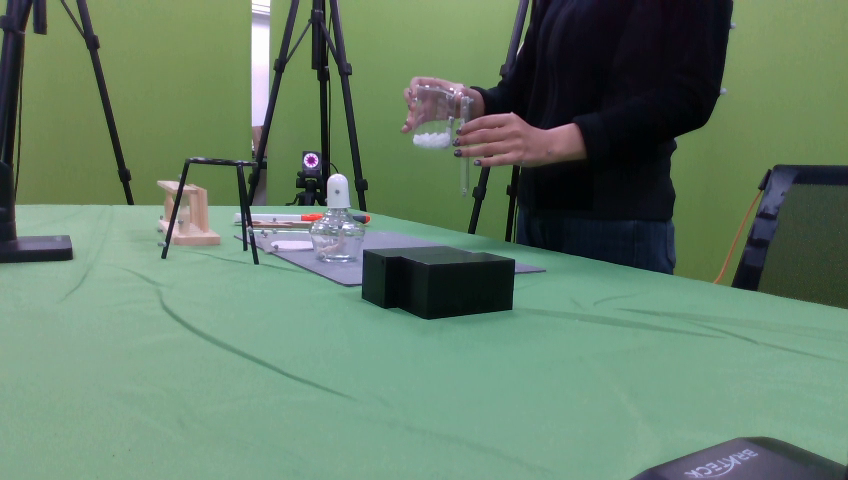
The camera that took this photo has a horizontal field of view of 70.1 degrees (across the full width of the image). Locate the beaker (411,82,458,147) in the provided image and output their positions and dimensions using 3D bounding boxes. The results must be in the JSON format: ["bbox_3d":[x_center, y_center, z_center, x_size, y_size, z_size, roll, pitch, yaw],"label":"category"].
[{"bbox_3d":[0.018,-0.210,1.021,0.074,0.100,0.083,-11,26,-40],"label":"beaker"}]

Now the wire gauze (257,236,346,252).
[{"bbox_3d":[-0.189,0.005,0.931,0.122,0.011,0.124,1,7,-21],"label":"wire gauze"}]

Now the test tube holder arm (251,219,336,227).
[{"bbox_3d":[-0.254,-0.031,1.157,0.179,0.015,0.013,-3,45,-31],"label":"test tube holder arm"}]

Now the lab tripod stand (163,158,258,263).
[{"bbox_3d":[-0.265,-0.041,0.802,0.148,0.131,0.148,4,7,0],"label":"lab tripod stand"}]

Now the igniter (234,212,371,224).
[{"bbox_3d":[-0.245,-0.045,1.248,0.278,0.025,0.057,-1,-2,-25],"label":"igniter"}]

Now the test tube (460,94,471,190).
[{"bbox_3d":[0.064,-0.153,0.952,0.017,0.150,0.017,1,2,0],"label":"test tube"}]

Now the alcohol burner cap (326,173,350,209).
[{"bbox_3d":[-0.116,-0.065,0.808,0.034,0.048,0.034,-3,10,1],"label":"alcohol burner cap"}]

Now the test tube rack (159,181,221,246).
[{"bbox_3d":[-0.395,-0.050,1.010,0.067,0.085,0.241,-2,8,-28],"label":"test tube rack"}]

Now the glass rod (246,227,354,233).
[{"bbox_3d":[-0.224,-0.017,1.109,0.201,0.008,0.008,1,7,-27],"label":"glass rod"}]

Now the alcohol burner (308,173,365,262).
[{"bbox_3d":[-0.117,-0.030,0.813,0.078,0.119,0.078,4,9,0],"label":"alcohol burner"}]

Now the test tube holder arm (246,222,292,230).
[{"bbox_3d":[-0.291,-0.026,1.130,0.088,0.015,0.010,-1,44,-30],"label":"test tube holder arm"}]
